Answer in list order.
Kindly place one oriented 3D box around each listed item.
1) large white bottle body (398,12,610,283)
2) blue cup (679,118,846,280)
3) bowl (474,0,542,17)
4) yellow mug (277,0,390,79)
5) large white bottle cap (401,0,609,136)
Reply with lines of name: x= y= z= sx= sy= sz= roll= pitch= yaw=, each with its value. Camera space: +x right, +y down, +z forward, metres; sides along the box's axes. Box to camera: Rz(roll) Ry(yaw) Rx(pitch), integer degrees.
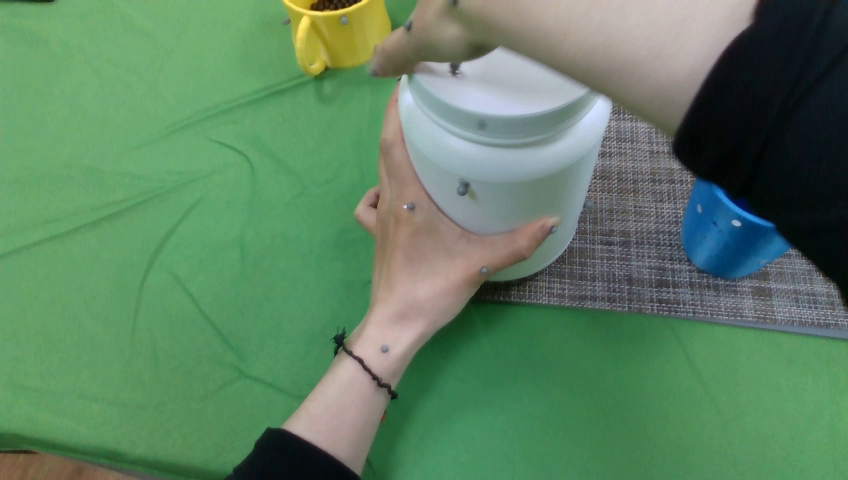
large white bottle body: x=0.050 y=-0.065 z=0.412 sx=0.130 sy=0.186 sz=0.129 roll=-1 pitch=61 yaw=3
blue cup: x=0.223 y=-0.019 z=0.424 sx=0.092 sy=0.101 sz=0.092 roll=-2 pitch=61 yaw=4
bowl: x=0.084 y=-0.276 z=0.593 sx=0.151 sy=0.077 sz=0.150 roll=-1 pitch=61 yaw=3
yellow mug: x=-0.091 y=-0.209 z=0.573 sx=0.099 sy=0.064 sz=0.130 roll=16 pitch=64 yaw=12
large white bottle cap: x=0.044 y=-0.107 z=0.339 sx=0.115 sy=0.018 sz=0.114 roll=-1 pitch=61 yaw=3
